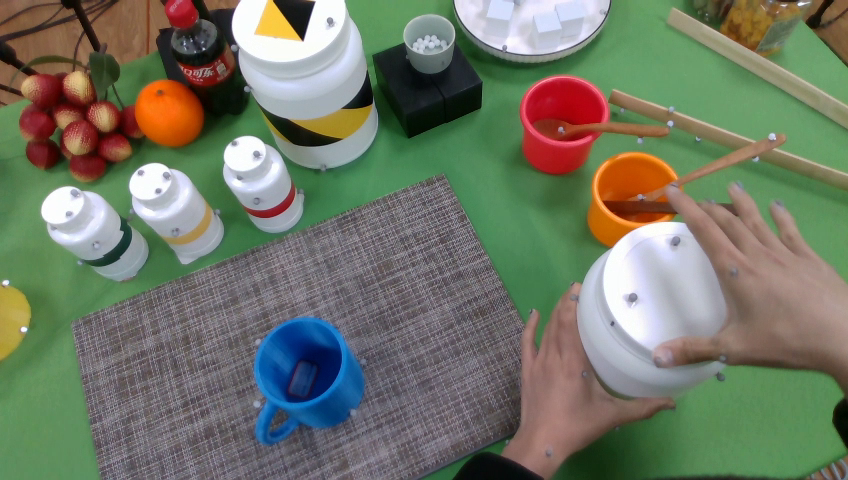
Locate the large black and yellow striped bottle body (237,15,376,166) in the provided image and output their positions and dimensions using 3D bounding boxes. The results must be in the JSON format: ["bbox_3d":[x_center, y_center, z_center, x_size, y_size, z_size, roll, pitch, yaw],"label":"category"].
[{"bbox_3d":[-0.129,-0.183,0.682,0.131,0.185,0.129,-1,65,3],"label":"large black and yellow striped bottle body"}]

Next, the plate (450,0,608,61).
[{"bbox_3d":[0.138,-0.318,0.811,0.209,0.038,0.207,-1,66,2],"label":"plate"}]

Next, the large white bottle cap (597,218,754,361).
[{"bbox_3d":[0.193,0.036,0.468,0.115,0.018,0.114,-1,65,2],"label":"large white bottle cap"}]

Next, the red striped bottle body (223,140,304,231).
[{"bbox_3d":[-0.177,-0.063,0.664,0.063,0.120,0.062,-2,65,5],"label":"red striped bottle body"}]

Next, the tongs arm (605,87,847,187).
[{"bbox_3d":[0.403,-0.117,0.706,0.383,0.027,0.050,26,66,13],"label":"tongs arm"}]

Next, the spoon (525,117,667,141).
[{"bbox_3d":[0.180,-0.123,0.661,0.041,0.192,0.022,-40,114,-18],"label":"spoon"}]

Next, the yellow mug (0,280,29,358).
[{"bbox_3d":[-0.486,0.093,0.638,0.100,0.064,0.129,-14,66,-3],"label":"yellow mug"}]

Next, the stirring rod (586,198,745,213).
[{"bbox_3d":[0.240,-0.036,0.621,0.175,0.006,0.014,7,51,53],"label":"stirring rod"}]

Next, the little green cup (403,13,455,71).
[{"bbox_3d":[0.006,-0.234,0.722,0.061,0.039,0.061,0,62,1],"label":"little green cup"}]

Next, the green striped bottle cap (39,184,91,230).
[{"bbox_3d":[-0.356,-0.033,0.602,0.044,0.020,0.044,0,65,0],"label":"green striped bottle cap"}]

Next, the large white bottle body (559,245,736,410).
[{"bbox_3d":[0.198,0.074,0.546,0.130,0.186,0.129,-1,65,3],"label":"large white bottle body"}]

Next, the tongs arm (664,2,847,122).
[{"bbox_3d":[0.455,-0.184,0.737,0.385,0.028,0.028,41,67,19],"label":"tongs arm"}]

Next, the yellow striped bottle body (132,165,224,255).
[{"bbox_3d":[-0.268,-0.036,0.656,0.063,0.121,0.062,-1,64,3],"label":"yellow striped bottle body"}]

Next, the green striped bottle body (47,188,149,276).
[{"bbox_3d":[-0.352,-0.011,0.649,0.063,0.120,0.062,-1,65,2],"label":"green striped bottle body"}]

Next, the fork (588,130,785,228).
[{"bbox_3d":[0.262,-0.060,0.625,0.207,0.019,0.028,-30,55,39],"label":"fork"}]

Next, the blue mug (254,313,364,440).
[{"bbox_3d":[-0.115,0.138,0.573,0.082,0.106,0.116,31,71,17],"label":"blue mug"}]

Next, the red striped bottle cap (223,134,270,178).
[{"bbox_3d":[-0.181,-0.086,0.617,0.044,0.018,0.044,0,62,0],"label":"red striped bottle cap"}]

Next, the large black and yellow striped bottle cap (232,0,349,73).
[{"bbox_3d":[-0.133,-0.218,0.603,0.115,0.019,0.114,-2,68,5],"label":"large black and yellow striped bottle cap"}]

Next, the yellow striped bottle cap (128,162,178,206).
[{"bbox_3d":[-0.272,-0.057,0.608,0.044,0.019,0.044,0,60,0],"label":"yellow striped bottle cap"}]
